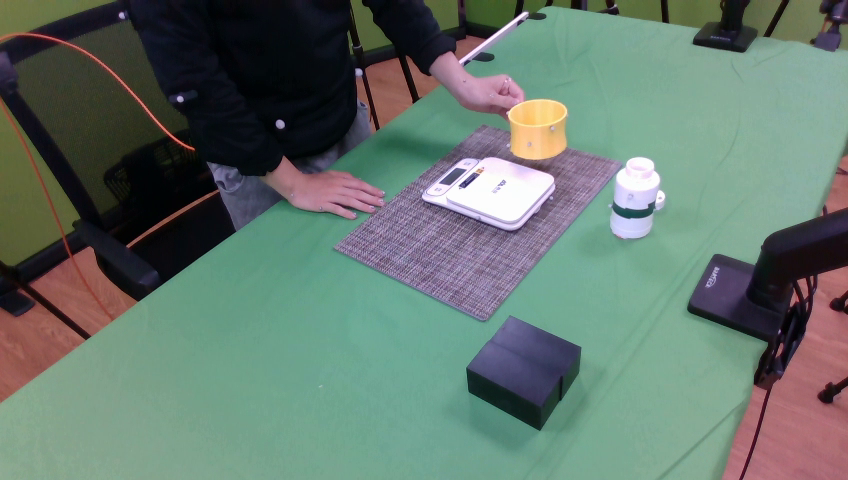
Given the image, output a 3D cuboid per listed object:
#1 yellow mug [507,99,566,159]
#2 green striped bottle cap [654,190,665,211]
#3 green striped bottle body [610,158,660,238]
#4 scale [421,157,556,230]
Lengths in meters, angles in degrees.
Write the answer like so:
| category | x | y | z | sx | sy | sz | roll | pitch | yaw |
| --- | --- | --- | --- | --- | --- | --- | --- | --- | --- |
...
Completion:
| category | x | y | z | sx | sy | sz | roll | pitch | yaw |
| --- | --- | --- | --- | --- | --- | --- | --- | --- | --- |
| yellow mug | 0.188 | -0.201 | 1.057 | 0.100 | 0.064 | 0.129 | -22 | 39 | -18 |
| green striped bottle cap | 0.375 | -0.066 | 0.998 | 0.044 | 0.020 | 0.044 | -8 | 38 | 7 |
| green striped bottle body | 0.323 | -0.066 | 0.923 | 0.063 | 0.120 | 0.063 | -4 | 41 | 4 |
| scale | 0.110 | -0.089 | 1.042 | 0.199 | 0.032 | 0.149 | 23 | 48 | 31 |
